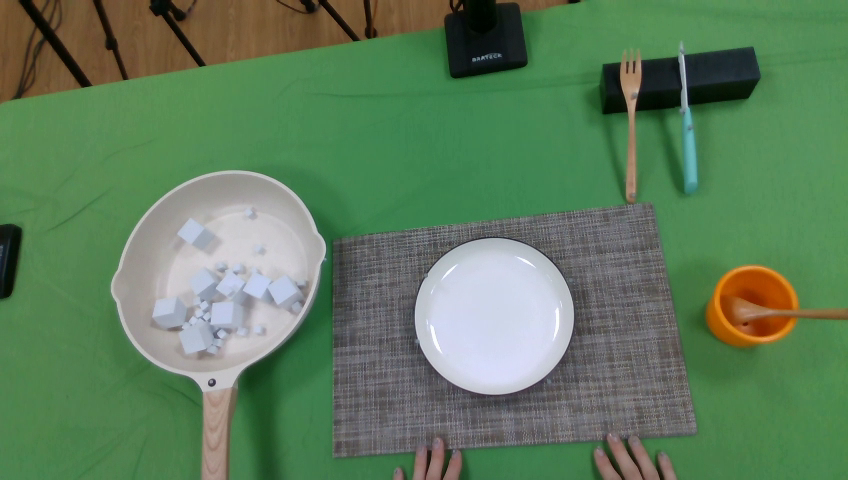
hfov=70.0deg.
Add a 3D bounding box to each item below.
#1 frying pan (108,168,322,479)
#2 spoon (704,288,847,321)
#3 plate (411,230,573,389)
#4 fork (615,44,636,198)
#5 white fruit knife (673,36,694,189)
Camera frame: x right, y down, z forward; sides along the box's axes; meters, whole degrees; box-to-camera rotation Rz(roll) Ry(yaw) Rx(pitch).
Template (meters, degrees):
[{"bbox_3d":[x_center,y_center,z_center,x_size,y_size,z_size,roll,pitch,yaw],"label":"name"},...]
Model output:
[{"bbox_3d":[-0.271,0.133,0.800,0.306,0.104,0.483,-10,62,7],"label":"frying pan"},{"bbox_3d":[0.405,0.073,0.681,0.192,0.022,0.041,-6,69,51],"label":"spoon"},{"bbox_3d":[0.087,0.090,0.788,0.207,0.039,0.206,-3,71,9],"label":"plate"},{"bbox_3d":[0.276,-0.161,0.824,0.028,0.018,0.207,0,90,2],"label":"fork"},{"bbox_3d":[0.346,-0.173,0.815,0.016,0.027,0.207,-4,86,6],"label":"white fruit knife"}]
